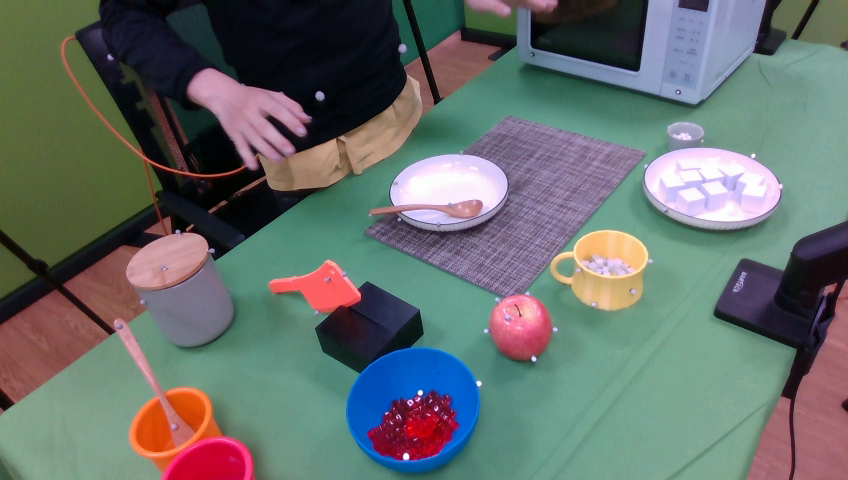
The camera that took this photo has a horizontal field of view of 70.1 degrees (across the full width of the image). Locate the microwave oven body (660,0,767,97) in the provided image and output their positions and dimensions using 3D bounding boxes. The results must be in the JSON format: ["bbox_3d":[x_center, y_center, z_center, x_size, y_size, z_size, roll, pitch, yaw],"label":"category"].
[{"bbox_3d":[0.473,-0.516,1.313,0.438,0.261,0.327,26,51,34],"label":"microwave oven body"}]

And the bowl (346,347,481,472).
[{"bbox_3d":[-0.008,0.205,0.691,0.151,0.077,0.150,-4,40,4],"label":"bowl"}]

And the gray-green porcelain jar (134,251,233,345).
[{"bbox_3d":[-0.334,0.076,0.849,0.106,0.127,0.105,-4,41,4],"label":"gray-green porcelain jar"}]

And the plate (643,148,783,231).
[{"bbox_3d":[0.464,-0.080,0.986,0.207,0.039,0.206,-4,41,4],"label":"plate"}]

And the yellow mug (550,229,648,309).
[{"bbox_3d":[0.245,0.040,0.857,0.130,0.064,0.099,1,42,11],"label":"yellow mug"}]

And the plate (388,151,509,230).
[{"bbox_3d":[0.044,-0.082,1.042,0.209,0.038,0.208,-4,40,4],"label":"plate"}]

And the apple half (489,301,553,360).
[{"bbox_3d":[0.127,0.123,0.772,0.081,0.075,0.053,-8,44,-6],"label":"apple half"}]

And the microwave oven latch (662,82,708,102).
[{"bbox_3d":[0.517,-0.298,1.202,0.078,0.029,0.030,27,52,34],"label":"microwave oven latch"}]

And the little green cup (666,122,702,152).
[{"bbox_3d":[0.471,-0.184,1.102,0.061,0.039,0.061,-5,41,5],"label":"little green cup"}]

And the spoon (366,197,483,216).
[{"bbox_3d":[0.002,-0.055,0.996,0.194,0.022,0.041,0,49,-11],"label":"spoon"}]

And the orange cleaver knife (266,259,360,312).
[{"bbox_3d":[-0.161,0.070,0.859,0.210,0.077,0.012,-13,22,49],"label":"orange cleaver knife"}]

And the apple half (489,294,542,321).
[{"bbox_3d":[0.120,0.098,0.800,0.081,0.081,0.032,-10,44,-4],"label":"apple half"}]

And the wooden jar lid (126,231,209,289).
[{"bbox_3d":[-0.340,0.030,0.809,0.108,0.021,0.108,-5,39,5],"label":"wooden jar lid"}]

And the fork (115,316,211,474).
[{"bbox_3d":[-0.308,0.179,0.708,0.028,0.018,0.207,-30,89,-16],"label":"fork"}]

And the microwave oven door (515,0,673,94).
[{"bbox_3d":[0.344,-0.458,1.256,0.353,0.245,0.039,26,52,33],"label":"microwave oven door"}]
